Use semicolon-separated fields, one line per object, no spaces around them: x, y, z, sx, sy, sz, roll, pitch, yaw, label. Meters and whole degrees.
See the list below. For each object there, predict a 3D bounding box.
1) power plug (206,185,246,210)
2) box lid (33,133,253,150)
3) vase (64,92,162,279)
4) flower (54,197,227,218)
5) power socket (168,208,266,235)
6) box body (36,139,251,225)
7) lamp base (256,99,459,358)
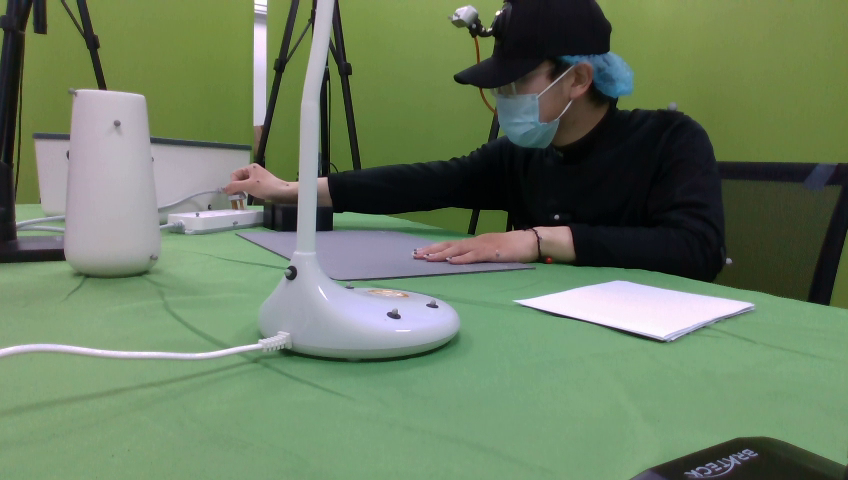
-0.389;-0.082;1.202;0.072;0.052;0.035;-8;-2;13;power plug
-0.555;-0.199;1.249;0.263;0.015;0.372;5;8;15;box lid
-0.348;-0.060;0.673;0.098;0.200;0.098;1;7;0;vase
-0.573;-0.058;1.266;0.044;0.038;0.364;36;21;33;flower
-0.379;-0.038;1.128;0.072;0.032;0.227;4;8;19;power socket
-0.559;-0.126;1.257;0.253;0.160;0.365;4;8;15;box body
-0.055;-0.013;0.463;0.160;0.180;0.180;6;11;27;lamp base
